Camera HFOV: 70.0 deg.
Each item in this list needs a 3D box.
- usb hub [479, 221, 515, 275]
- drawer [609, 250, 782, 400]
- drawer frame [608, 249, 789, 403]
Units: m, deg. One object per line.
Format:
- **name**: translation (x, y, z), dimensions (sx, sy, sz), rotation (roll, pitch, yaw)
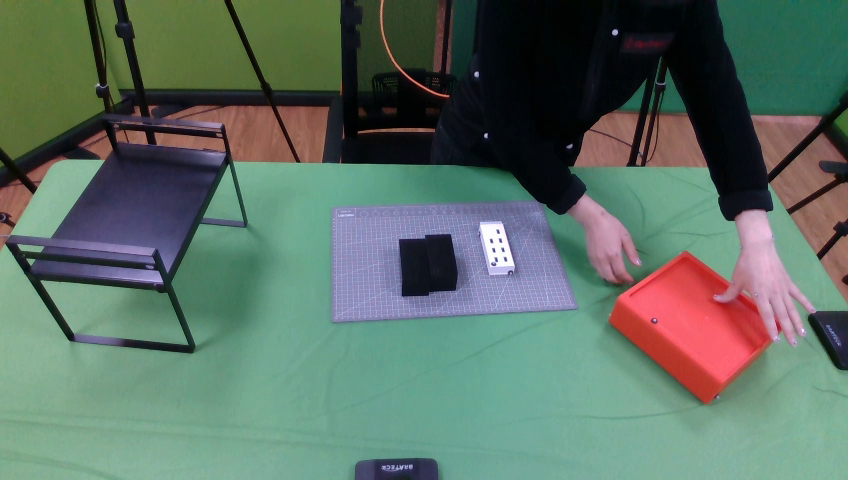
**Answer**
- **usb hub**: translation (0.141, 0.014, 1.187), dimensions (0.049, 0.025, 0.124), rotation (-3, 46, -6)
- **drawer**: translation (0.468, 0.142, 1.055), dimensions (0.194, 0.073, 0.210), rotation (-27, 55, -28)
- **drawer frame**: translation (0.470, 0.140, 1.051), dimensions (0.202, 0.083, 0.212), rotation (-28, 55, -27)
